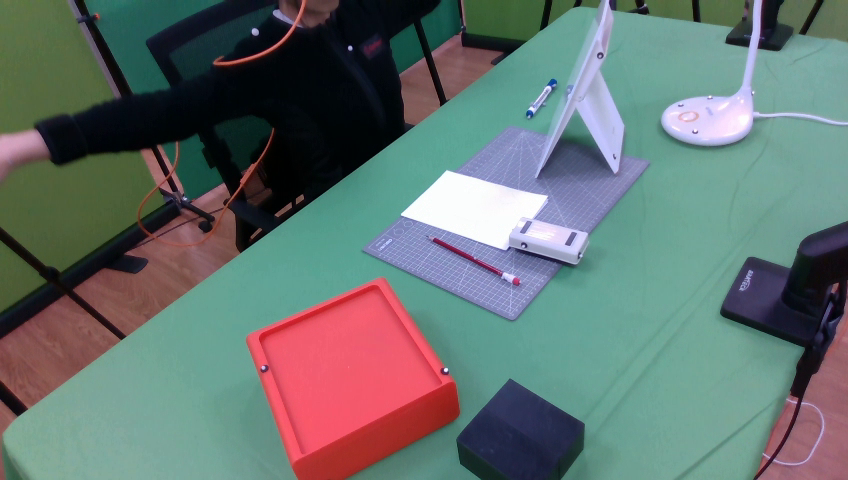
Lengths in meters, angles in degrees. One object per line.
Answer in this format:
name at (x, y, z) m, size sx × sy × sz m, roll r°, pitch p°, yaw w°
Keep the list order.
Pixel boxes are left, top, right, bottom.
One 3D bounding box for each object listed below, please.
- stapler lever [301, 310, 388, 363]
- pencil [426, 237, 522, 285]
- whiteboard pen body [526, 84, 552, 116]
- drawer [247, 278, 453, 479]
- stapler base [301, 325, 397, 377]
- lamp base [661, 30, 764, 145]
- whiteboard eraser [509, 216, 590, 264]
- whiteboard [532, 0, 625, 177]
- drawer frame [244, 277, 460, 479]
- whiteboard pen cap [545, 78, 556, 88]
stapler lever at (-0.105, 0.126, 0.798) m, size 0.118 × 0.040 × 0.026 m, roll -17°, pitch 41°, yaw -15°
pencil at (0.072, 0.028, 0.941) m, size 0.192 × 0.012 × 0.012 m, roll 26°, pitch 52°, yaw 37°
whiteboard pen body at (0.251, -0.305, 1.297) m, size 0.017 × 0.017 × 0.141 m, roll 15°, pitch 45°, yaw 26°
drawer at (-0.096, 0.167, 0.758) m, size 0.195 × 0.073 × 0.210 m, roll -22°, pitch 43°, yaw -16°
stapler base at (-0.102, 0.143, 0.815) m, size 0.131 × 0.024 × 0.041 m, roll -18°, pitch 42°, yaw -13°
lamp base at (0.535, -0.287, 1.096) m, size 0.179 × 0.181 × 0.159 m, roll -10°, pitch 40°, yaw -4°
whiteboard eraser at (0.191, 0.002, 0.924) m, size 0.112 × 0.042 × 0.056 m, roll 16°, pitch 45°, yaw 26°
whiteboard at (0.320, -0.258, 1.049) m, size 0.144 × 0.306 × 0.217 m, roll 21°, pitch 45°, yaw 5°
drawer frame at (-0.093, 0.167, 0.755) m, size 0.202 × 0.083 × 0.211 m, roll -23°, pitch 43°, yaw -17°
whiteboard pen cap at (0.279, -0.344, 1.335) m, size 0.018 × 0.018 × 0.033 m, roll 15°, pitch 45°, yaw 25°
